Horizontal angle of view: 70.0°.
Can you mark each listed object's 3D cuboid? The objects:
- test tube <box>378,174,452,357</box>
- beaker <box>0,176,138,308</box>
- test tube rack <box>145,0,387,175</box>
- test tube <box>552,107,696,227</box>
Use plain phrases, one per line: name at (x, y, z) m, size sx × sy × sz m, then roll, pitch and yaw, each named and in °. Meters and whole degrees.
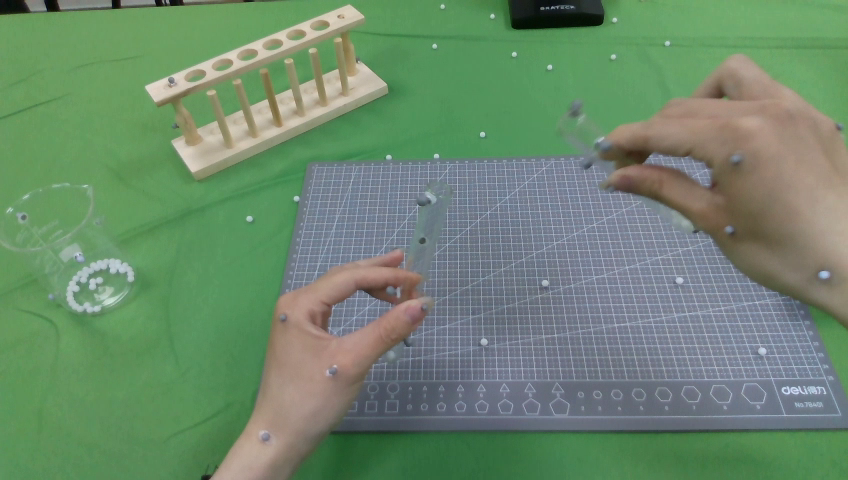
test tube at (-0.009, 0.023, 0.386) m, size 0.017 × 0.151 × 0.017 m, roll 11°, pitch 38°, yaw -8°
beaker at (-0.300, 0.004, 0.524) m, size 0.073 × 0.101 × 0.083 m, roll 21°, pitch 55°, yaw 19°
test tube rack at (-0.164, -0.172, 0.668) m, size 0.242 × 0.086 × 0.066 m, roll -30°, pitch 55°, yaw -19°
test tube at (0.124, -0.038, 0.359) m, size 0.017 × 0.152 × 0.017 m, roll -24°, pitch 54°, yaw 39°
